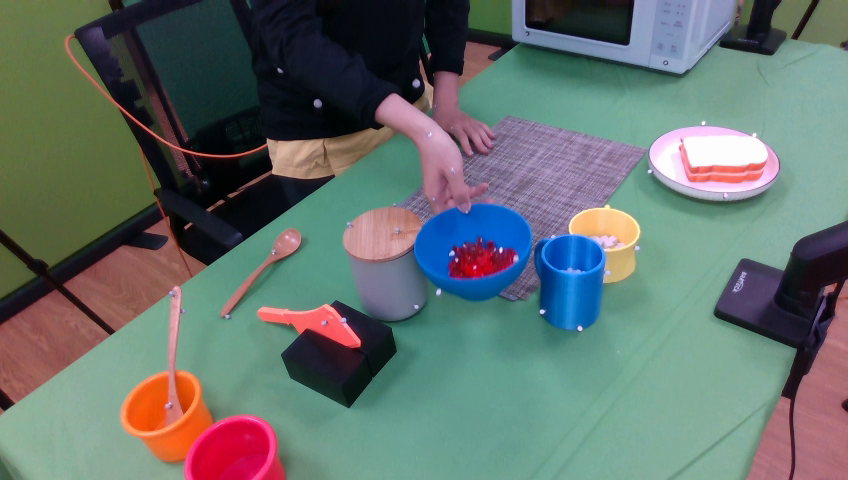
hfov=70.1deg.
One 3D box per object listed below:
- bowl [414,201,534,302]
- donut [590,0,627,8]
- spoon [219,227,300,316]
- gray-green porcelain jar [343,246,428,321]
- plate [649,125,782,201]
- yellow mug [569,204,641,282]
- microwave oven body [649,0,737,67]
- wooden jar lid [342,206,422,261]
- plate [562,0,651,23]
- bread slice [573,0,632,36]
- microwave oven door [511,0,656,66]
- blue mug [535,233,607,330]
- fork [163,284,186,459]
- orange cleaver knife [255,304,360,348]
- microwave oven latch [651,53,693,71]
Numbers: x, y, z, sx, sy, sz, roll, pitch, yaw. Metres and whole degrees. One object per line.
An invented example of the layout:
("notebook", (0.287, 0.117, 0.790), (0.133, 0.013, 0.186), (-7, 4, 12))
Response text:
("bowl", (0.067, 0.027, 0.775), (0.151, 0.077, 0.150), (-6, 41, 6))
("donut", (0.438, -0.587, 1.433), (0.099, 0.048, 0.098), (-2, 53, 3))
("spoon", (-0.261, 0.046, 0.954), (0.041, 0.021, 0.194), (27, 48, 10))
("gray-green porcelain jar", (-0.050, 0.042, 0.849), (0.106, 0.127, 0.105), (-5, 41, 5))
("plate", (0.493, -0.128, 1.036), (0.207, 0.039, 0.206), (-4, 41, 4))
("yellow mug", (0.268, -0.004, 0.904), (0.099, 0.064, 0.130), (6, 41, 15))
("microwave oven body", (0.475, -0.602, 1.411), (0.438, 0.261, 0.327), (23, 50, 32))
("wooden jar lid", (-0.055, -0.006, 0.808), (0.108, 0.021, 0.108), (-6, 40, 6))
("plate", (0.440, -0.573, 1.455), (0.209, 0.038, 0.208), (-6, 43, 6))
("bread slice", (0.429, -0.559, 1.478), (0.105, 0.019, 0.131), (-28, 69, -20))
("microwave oven door", (0.351, -0.539, 1.349), (0.353, 0.245, 0.039), (24, 50, 31))
("blue mug", (0.191, 0.048, 0.824), (0.082, 0.106, 0.115), (-26, 44, -20))
("fork", (-0.303, 0.157, 0.733), (0.028, 0.019, 0.207), (-3, 84, 13))
("orange cleaver knife", (-0.161, 0.115, 0.813), (0.210, 0.077, 0.012), (-4, 32, 46))
("microwave oven latch", (0.532, -0.386, 1.301), (0.078, 0.029, 0.030), (27, 52, 34))
